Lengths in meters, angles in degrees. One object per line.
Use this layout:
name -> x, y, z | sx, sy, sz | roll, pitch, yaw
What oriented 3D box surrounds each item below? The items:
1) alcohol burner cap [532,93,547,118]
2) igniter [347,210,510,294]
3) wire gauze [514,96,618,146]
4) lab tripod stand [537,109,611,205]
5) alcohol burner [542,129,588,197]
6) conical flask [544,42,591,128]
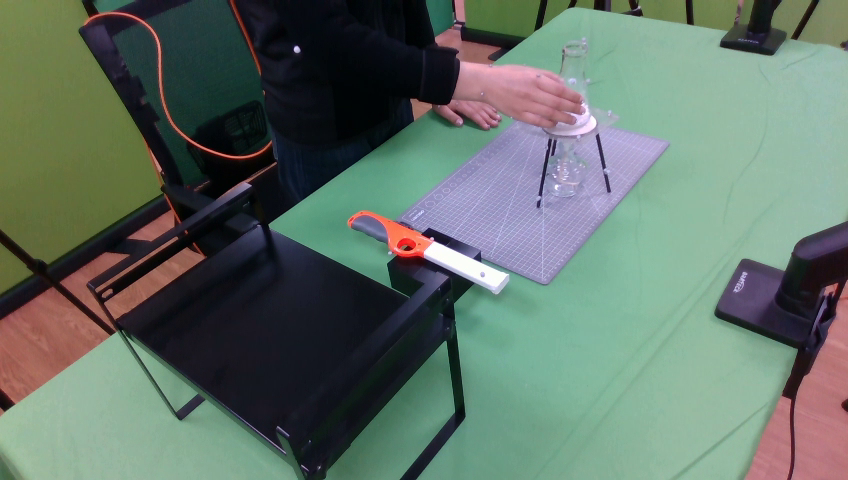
alcohol burner cap -> 0.240, -0.281, 1.251 | 0.034, 0.048, 0.033 | -4, 42, 4
igniter -> -0.001, 0.012, 0.884 | 0.274, 0.025, 0.057 | 24, 53, 28
wire gauze -> 0.229, -0.190, 0.969 | 0.120, 0.011, 0.125 | 26, 50, 33
lab tripod stand -> 0.244, -0.141, 1.014 | 0.148, 0.132, 0.147 | -3, 39, 3
alcohol burner -> 0.239, -0.133, 1.021 | 0.078, 0.119, 0.077 | -4, 38, 4
conical flask -> 0.225, -0.239, 0.929 | 0.075, 0.122, 0.075 | -3, 44, 3
